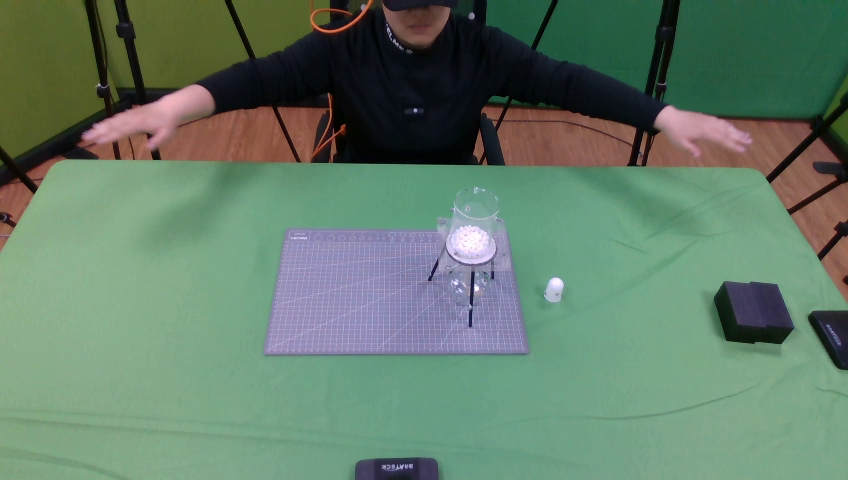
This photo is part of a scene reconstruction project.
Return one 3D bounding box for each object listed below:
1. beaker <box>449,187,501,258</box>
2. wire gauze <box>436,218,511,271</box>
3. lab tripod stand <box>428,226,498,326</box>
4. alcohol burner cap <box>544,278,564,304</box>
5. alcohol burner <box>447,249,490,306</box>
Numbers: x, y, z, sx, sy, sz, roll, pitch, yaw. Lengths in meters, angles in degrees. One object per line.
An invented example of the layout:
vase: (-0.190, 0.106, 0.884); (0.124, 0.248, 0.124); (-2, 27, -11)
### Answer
beaker: (0.080, -0.027, 0.991); (0.074, 0.101, 0.083); (3, 46, -3)
wire gauze: (0.083, 0.007, 1.026); (0.121, 0.011, 0.124); (3, 44, -5)
lab tripod stand: (0.079, 0.056, 1.070); (0.148, 0.132, 0.147); (3, 47, -3)
alcohol burner cap: (0.241, 0.090, 1.117); (0.034, 0.048, 0.033); (2, 45, -2)
alcohol burner: (0.079, 0.062, 1.078); (0.078, 0.120, 0.077); (1, 45, -1)
